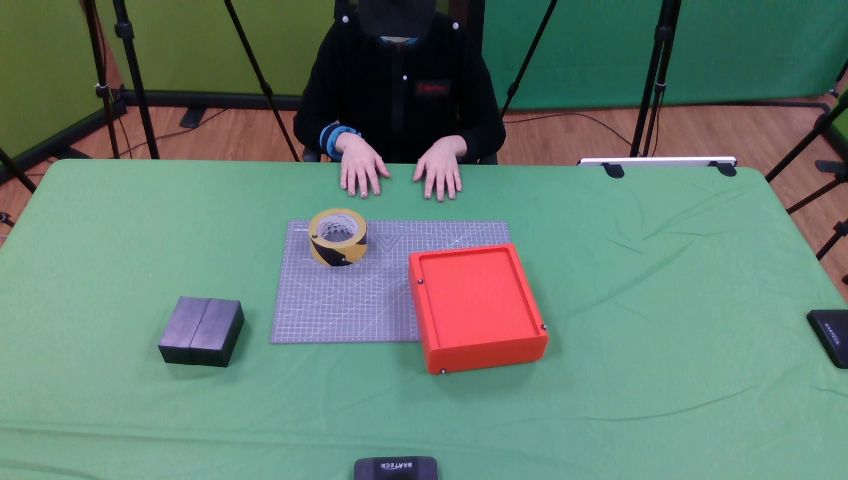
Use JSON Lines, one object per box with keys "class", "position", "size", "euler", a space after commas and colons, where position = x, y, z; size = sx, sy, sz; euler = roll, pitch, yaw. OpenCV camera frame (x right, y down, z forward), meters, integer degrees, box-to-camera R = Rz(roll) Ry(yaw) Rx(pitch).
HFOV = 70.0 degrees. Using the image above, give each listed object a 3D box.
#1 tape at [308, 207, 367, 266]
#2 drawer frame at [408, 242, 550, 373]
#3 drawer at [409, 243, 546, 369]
{"class": "tape", "position": [-0.167, -0.008, 1.167], "size": [0.117, 0.053, 0.116], "euler": [3, 46, -2]}
{"class": "drawer frame", "position": [0.087, 0.111, 1.051], "size": [0.202, 0.083, 0.212], "euler": [-6, 48, -10]}
{"class": "drawer", "position": [0.085, 0.110, 1.053], "size": [0.195, 0.073, 0.210], "euler": [-5, 47, -10]}
